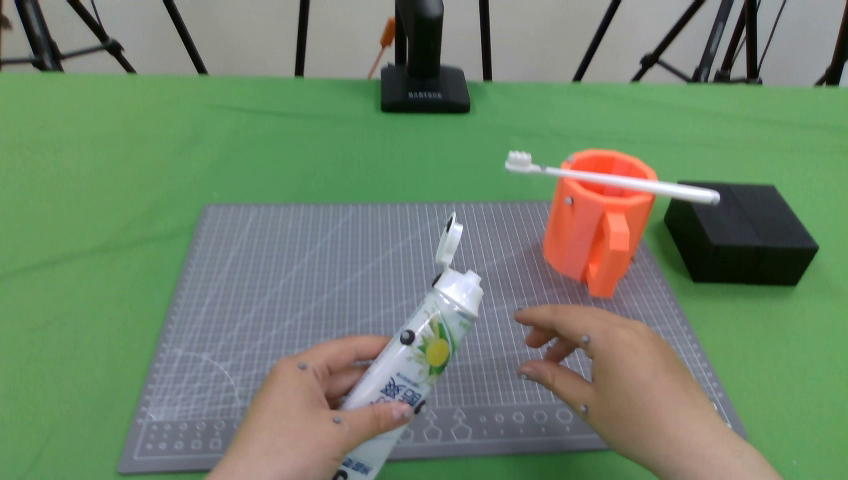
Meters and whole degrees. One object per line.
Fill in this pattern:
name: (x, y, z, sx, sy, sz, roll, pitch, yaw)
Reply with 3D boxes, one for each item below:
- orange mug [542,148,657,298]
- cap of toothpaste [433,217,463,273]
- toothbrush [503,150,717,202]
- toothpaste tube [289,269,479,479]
orange mug: (0.160, -0.012, 0.553, 0.083, 0.101, 0.125, 5, 37, 1)
cap of toothpaste: (0.016, 0.003, 0.386, 0.011, 0.037, 0.037, 20, 42, 2)
toothbrush: (0.158, -0.055, 0.521, 0.181, 0.017, 0.014, 11, 34, 9)
toothpaste tube: (-0.017, 0.087, 0.381, 0.055, 0.165, 0.034, 35, -3, -21)
